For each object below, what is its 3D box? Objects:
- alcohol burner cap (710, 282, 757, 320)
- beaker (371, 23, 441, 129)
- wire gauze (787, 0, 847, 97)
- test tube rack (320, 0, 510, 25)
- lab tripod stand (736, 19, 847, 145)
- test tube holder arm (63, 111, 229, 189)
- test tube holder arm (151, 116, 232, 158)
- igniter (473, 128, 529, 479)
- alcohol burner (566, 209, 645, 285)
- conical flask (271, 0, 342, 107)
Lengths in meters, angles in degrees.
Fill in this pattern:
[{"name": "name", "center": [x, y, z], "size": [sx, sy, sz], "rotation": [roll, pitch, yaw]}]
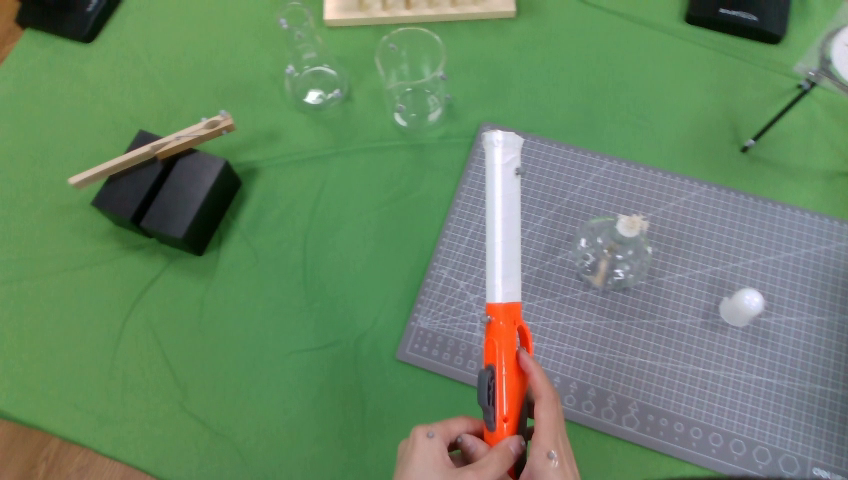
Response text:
[{"name": "alcohol burner cap", "center": [0.311, 0.058, 0.603], "size": [0.034, 0.048, 0.033], "rotation": [0, 68, 2]}, {"name": "beaker", "center": [-0.019, -0.177, 0.683], "size": [0.073, 0.101, 0.084], "rotation": [32, 73, 15]}, {"name": "wire gauze", "center": [0.431, -0.176, 0.575], "size": [0.121, 0.011, 0.125], "rotation": [38, 75, 14]}, {"name": "test tube rack", "center": [-0.014, -0.328, 0.751], "size": [0.242, 0.086, 0.066], "rotation": [-3, 67, 1]}, {"name": "lab tripod stand", "center": [0.426, -0.151, 0.638], "size": [0.148, 0.132, 0.147], "rotation": [0, 67, 0]}, {"name": "test tube holder arm", "center": [-0.296, -0.097, 0.650], "size": [0.178, 0.015, 0.013], "rotation": [-25, 69, -9]}, {"name": "test tube holder arm", "center": [-0.252, -0.111, 0.655], "size": [0.088, 0.015, 0.010], "rotation": [-23, 69, -8]}, {"name": "igniter", "center": [0.058, 0.056, 0.457], "size": [0.057, 0.025, 0.276], "rotation": [-1, 90, -43]}, {"name": "alcohol burner", "center": [0.181, 0.001, 0.592], "size": [0.078, 0.120, 0.077], "rotation": [0, 67, 0]}, {"name": "conical flask", "center": [-0.139, -0.214, 0.689], "size": [0.075, 0.123, 0.075], "rotation": [-1, 67, 2]}]
